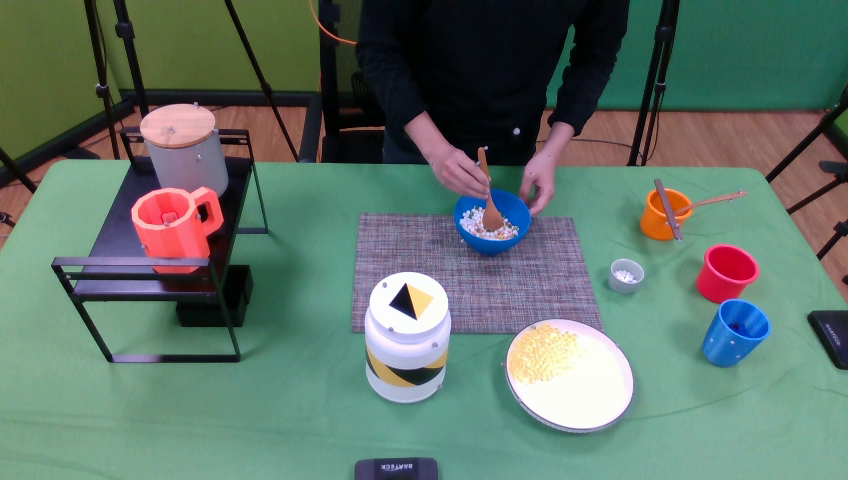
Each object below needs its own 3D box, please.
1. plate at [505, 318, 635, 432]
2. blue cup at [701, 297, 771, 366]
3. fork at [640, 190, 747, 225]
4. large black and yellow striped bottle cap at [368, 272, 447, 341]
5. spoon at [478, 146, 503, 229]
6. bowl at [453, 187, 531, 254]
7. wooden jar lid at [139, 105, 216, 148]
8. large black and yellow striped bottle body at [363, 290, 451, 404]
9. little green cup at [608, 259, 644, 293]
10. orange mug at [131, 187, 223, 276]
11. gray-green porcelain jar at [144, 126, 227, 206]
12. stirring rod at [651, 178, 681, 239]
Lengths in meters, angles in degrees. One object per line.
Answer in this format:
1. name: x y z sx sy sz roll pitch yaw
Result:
1. plate: 0.235 0.221 0.991 0.209 0.038 0.208 2 46 -2
2. blue cup: 0.519 0.162 1.025 0.093 0.101 0.092 3 45 -3
3. fork: 0.533 -0.064 1.211 0.207 0.019 0.028 -22 28 39
4. large black and yellow striped bottle cap: -0.023 0.093 0.875 0.115 0.019 0.114 3 46 -3
5. spoon: 0.116 -0.092 1.116 0.041 0.195 0.021 -2 38 16
6. bowl: 0.128 -0.026 1.186 0.151 0.077 0.150 2 46 -2
7. wooden jar lid: -0.372 -0.169 0.920 0.108 0.021 0.107 4 44 -4
8. large black and yellow striped bottle body: -0.027 0.153 0.935 0.131 0.185 0.130 2 46 -2
9. little green cup: 0.379 0.070 1.147 0.061 0.039 0.061 3 45 -2
10. orange mug: -0.354 -0.022 0.888 0.083 0.101 0.126 31 55 24
11. gray-green porcelain jar: -0.375 -0.125 0.967 0.106 0.127 0.105 2 46 -2
12. stirring rod: 0.480 -0.065 1.204 0.014 0.006 0.175 3 46 -3
